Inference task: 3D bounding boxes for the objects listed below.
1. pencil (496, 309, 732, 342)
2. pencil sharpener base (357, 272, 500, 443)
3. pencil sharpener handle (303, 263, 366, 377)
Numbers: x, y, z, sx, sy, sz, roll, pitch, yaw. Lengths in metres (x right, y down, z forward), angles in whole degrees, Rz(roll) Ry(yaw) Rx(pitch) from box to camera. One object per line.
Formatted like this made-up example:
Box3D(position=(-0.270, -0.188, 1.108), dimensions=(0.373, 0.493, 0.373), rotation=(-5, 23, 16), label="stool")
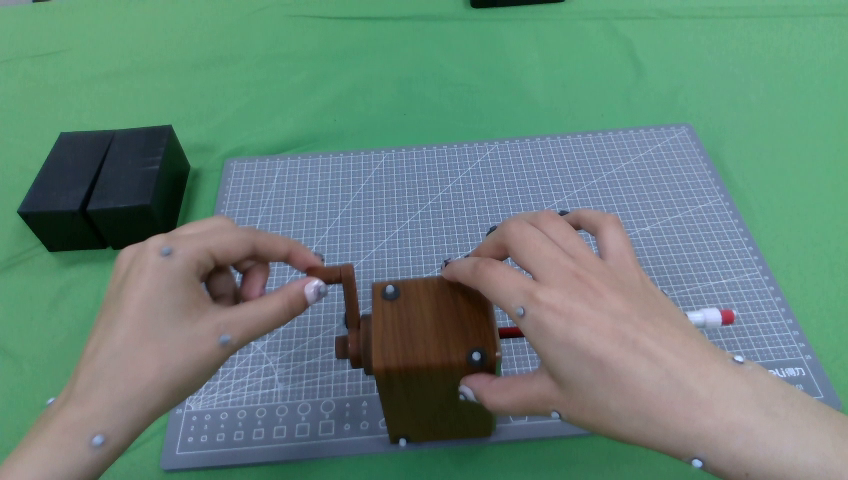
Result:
Box3D(position=(0.086, 0.053, 0.356), dimensions=(0.194, 0.012, 0.012), rotation=(-4, 49, -3), label="pencil")
Box3D(position=(0.003, 0.076, 0.374), dimensions=(0.077, 0.108, 0.060), rotation=(-5, 50, -1), label="pencil sharpener base")
Box3D(position=(-0.051, 0.047, 0.349), dimensions=(0.030, 0.068, 0.036), rotation=(-5, 9, -1), label="pencil sharpener handle")
